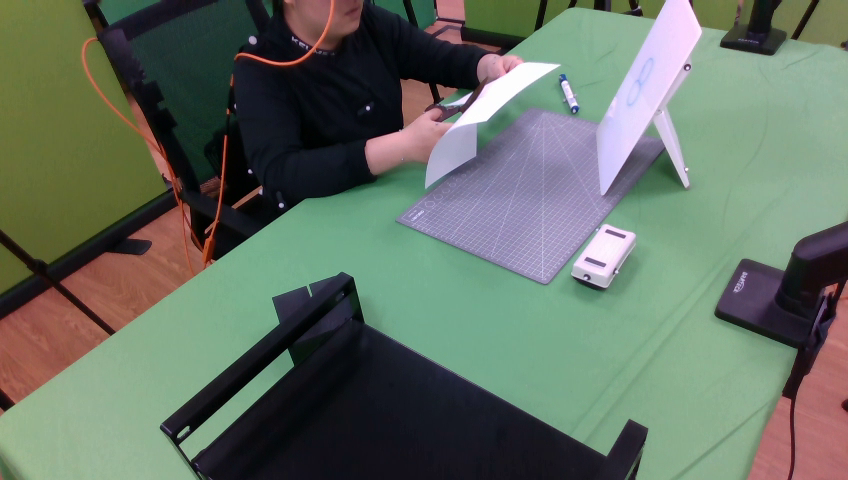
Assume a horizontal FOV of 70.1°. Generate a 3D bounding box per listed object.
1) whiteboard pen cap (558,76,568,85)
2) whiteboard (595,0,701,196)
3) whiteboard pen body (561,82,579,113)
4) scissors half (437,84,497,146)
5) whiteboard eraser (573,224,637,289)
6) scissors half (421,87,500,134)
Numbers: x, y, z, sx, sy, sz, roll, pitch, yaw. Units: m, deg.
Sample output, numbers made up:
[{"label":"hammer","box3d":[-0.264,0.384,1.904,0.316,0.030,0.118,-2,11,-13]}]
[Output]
[{"label":"whiteboard pen cap","box3d":[0.310,-0.350,1.341,0.018,0.018,0.033,-6,41,2]},{"label":"whiteboard","box3d":[0.421,-0.227,1.010,0.144,0.305,0.216,18,42,-2]},{"label":"whiteboard pen body","box3d":[0.310,-0.312,1.297,0.017,0.017,0.140,-6,42,2]},{"label":"scissors half","box3d":[0.078,-0.219,1.074,0.040,0.174,0.013,25,51,-18]},{"label":"whiteboard eraser","box3d":[0.267,0.025,0.891,0.055,0.042,0.113,19,47,31]},{"label":"scissors half","box3d":[0.062,-0.231,1.065,0.174,0.040,0.013,-19,39,35]}]
